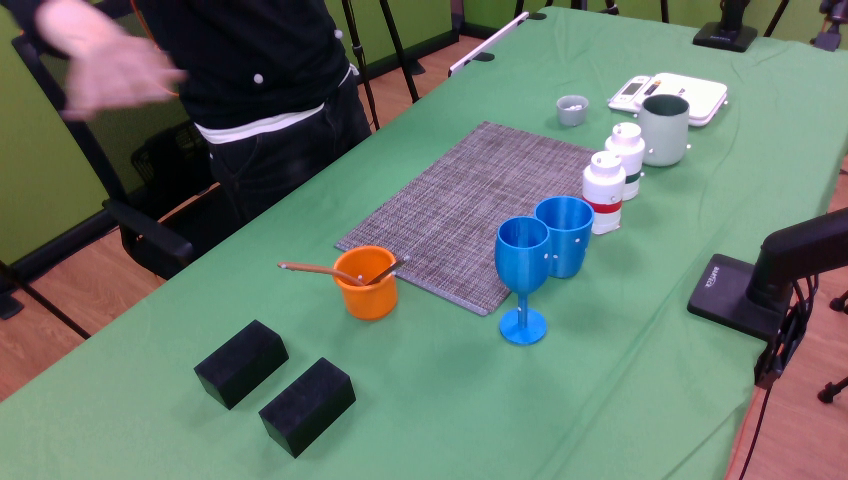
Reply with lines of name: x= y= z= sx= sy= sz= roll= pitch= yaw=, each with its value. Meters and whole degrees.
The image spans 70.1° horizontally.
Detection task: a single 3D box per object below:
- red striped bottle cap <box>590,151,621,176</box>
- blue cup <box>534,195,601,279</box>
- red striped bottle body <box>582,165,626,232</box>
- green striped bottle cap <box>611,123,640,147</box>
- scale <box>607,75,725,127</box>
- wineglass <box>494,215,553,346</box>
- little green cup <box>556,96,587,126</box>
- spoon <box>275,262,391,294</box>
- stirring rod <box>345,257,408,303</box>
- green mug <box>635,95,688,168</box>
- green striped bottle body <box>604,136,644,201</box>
red striped bottle cap: x=0.273 y=-0.115 z=0.908 sx=0.044 sy=0.018 sz=0.044 roll=-4 pitch=45 yaw=4
blue cup: x=0.201 y=0.000 z=0.879 sx=0.092 sy=0.100 sz=0.092 roll=-3 pitch=39 yaw=3
red striped bottle body: x=0.279 y=-0.075 z=0.942 sx=0.063 sy=0.120 sz=0.062 roll=-5 pitch=41 yaw=4
green striped bottle cap: x=0.322 y=-0.168 z=0.963 sx=0.044 sy=0.020 sz=0.044 roll=-4 pitch=41 yaw=4
scale: x=0.490 y=-0.287 z=1.226 sx=0.199 sy=0.032 sz=0.149 roll=22 pitch=48 yaw=30
wineglass: x=0.126 y=0.055 z=0.770 sx=0.074 sy=0.173 sz=0.073 roll=-4 pitch=40 yaw=4
little green cup: x=0.295 y=-0.257 z=1.214 sx=0.061 sy=0.039 sz=0.061 roll=-4 pitch=41 yaw=4
spoon: x=-0.120 y=0.050 z=0.830 sx=0.041 sy=0.195 sz=0.021 roll=31 pitch=97 yaw=45
stirring rod: x=-0.067 y=0.057 z=0.815 sx=0.014 sy=0.175 sz=0.006 roll=-24 pitch=82 yaw=-37
green mug: x=0.421 y=-0.201 z=1.081 sx=0.092 sy=0.105 sz=0.125 roll=5 pitch=42 yaw=15
green striped bottle body: x=0.326 y=-0.128 z=0.997 sx=0.063 sy=0.120 sz=0.063 roll=-4 pitch=41 yaw=4
